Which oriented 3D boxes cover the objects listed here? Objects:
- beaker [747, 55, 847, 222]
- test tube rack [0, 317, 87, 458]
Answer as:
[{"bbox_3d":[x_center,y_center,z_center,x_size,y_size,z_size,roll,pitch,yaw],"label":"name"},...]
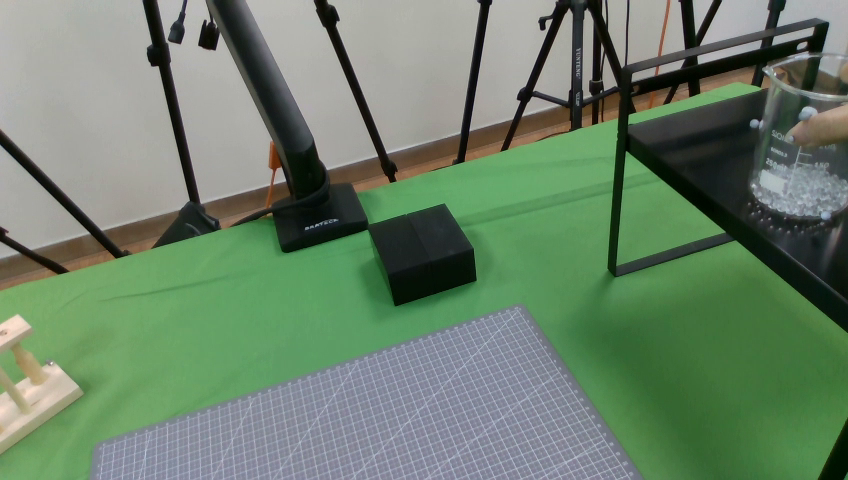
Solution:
[{"bbox_3d":[0.275,-0.071,0.432,0.074,0.101,0.083,-31,43,-26],"label":"beaker"},{"bbox_3d":[-0.462,0.185,0.564,0.066,0.086,0.242,23,47,34],"label":"test tube rack"}]
